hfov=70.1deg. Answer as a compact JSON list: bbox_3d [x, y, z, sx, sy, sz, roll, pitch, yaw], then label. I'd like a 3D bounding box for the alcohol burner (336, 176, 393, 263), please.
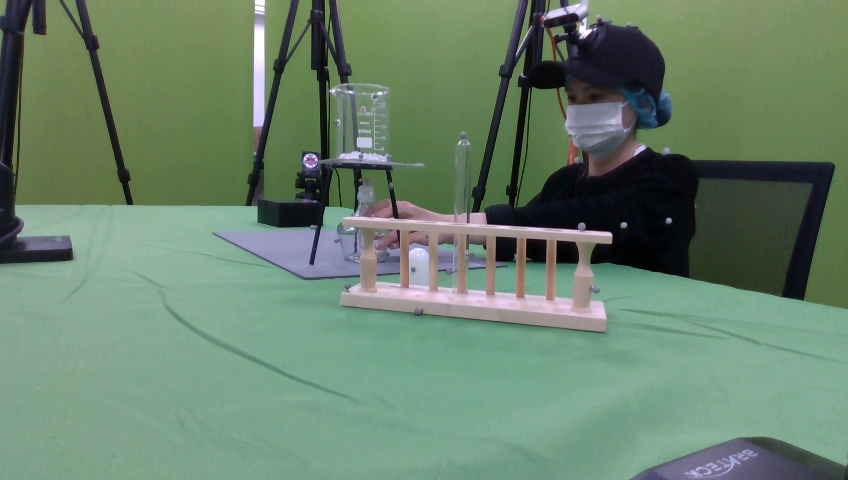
[{"bbox_3d":[-0.080,-0.028,0.825,0.078,0.119,0.078,3,5,0],"label":"alcohol burner"}]

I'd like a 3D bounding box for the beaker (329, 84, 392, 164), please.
[{"bbox_3d":[-0.084,-0.149,0.794,0.084,0.100,0.073,-1,6,-23],"label":"beaker"}]

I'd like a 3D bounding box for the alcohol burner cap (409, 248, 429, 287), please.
[{"bbox_3d":[-0.008,0.032,0.674,0.034,0.048,0.034,3,6,0],"label":"alcohol burner cap"}]

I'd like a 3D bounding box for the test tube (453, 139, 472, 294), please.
[{"bbox_3d":[0.037,-0.021,0.584,0.017,0.150,0.017,1,7,0],"label":"test tube"}]

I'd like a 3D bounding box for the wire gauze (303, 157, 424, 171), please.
[{"bbox_3d":[-0.082,-0.101,0.799,0.126,0.011,0.121,1,7,-30],"label":"wire gauze"}]

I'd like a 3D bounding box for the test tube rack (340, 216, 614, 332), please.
[{"bbox_3d":[0.048,0.026,0.568,0.242,0.085,0.067,4,8,13],"label":"test tube rack"}]

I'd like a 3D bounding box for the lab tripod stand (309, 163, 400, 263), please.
[{"bbox_3d":[-0.091,-0.037,0.812,0.148,0.131,0.148,1,6,0],"label":"lab tripod stand"}]
